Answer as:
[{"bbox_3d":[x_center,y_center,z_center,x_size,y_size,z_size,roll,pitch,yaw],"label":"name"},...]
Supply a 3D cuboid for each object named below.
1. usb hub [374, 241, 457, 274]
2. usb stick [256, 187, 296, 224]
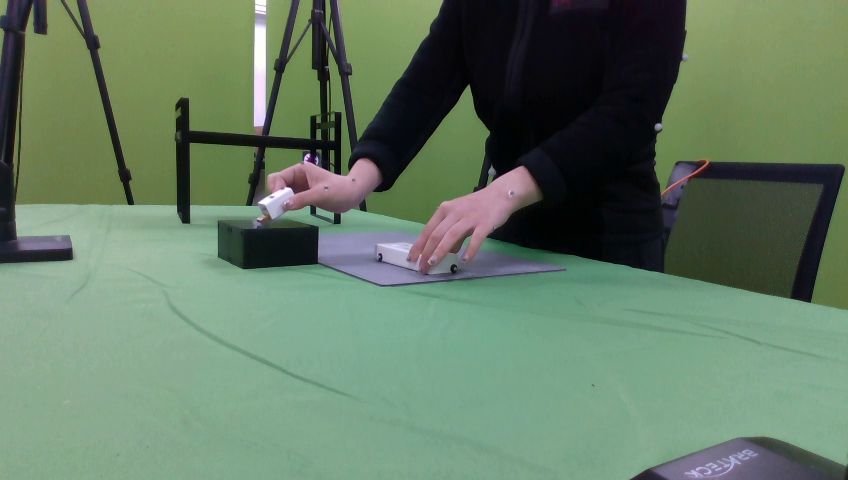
[{"bbox_3d":[-0.014,0.021,0.797,0.050,0.025,0.124,-5,11,-37],"label":"usb hub"},{"bbox_3d":[-0.200,-0.044,0.799,0.021,0.027,0.059,12,47,48],"label":"usb stick"}]
